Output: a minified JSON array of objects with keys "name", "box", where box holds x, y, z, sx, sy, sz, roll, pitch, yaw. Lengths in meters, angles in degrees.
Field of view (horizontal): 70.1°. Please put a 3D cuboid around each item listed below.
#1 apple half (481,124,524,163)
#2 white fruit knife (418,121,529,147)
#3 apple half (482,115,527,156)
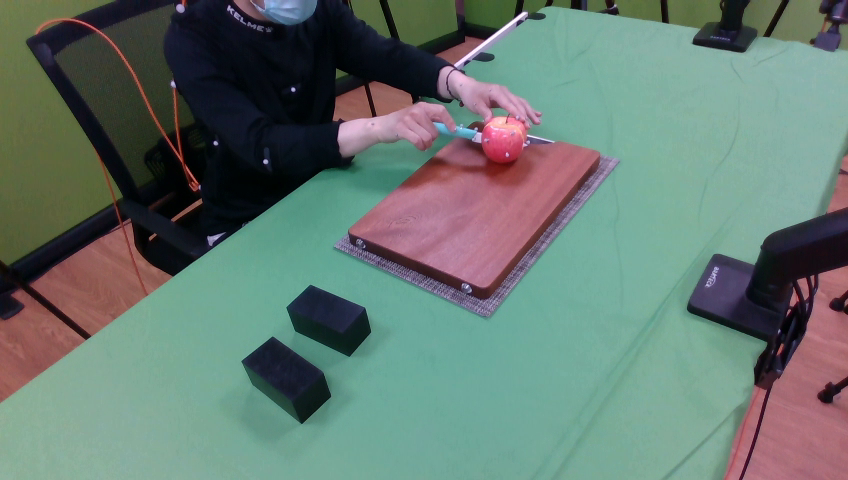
[{"name":"apple half","box":[0.132,-0.161,1.053,0.081,0.081,0.033,10,44,19]},{"name":"white fruit knife","box":[0.086,-0.188,1.075,0.206,0.027,0.016,13,52,16]},{"name":"apple half","box":[0.148,-0.187,1.082,0.080,0.075,0.053,9,37,21]}]
